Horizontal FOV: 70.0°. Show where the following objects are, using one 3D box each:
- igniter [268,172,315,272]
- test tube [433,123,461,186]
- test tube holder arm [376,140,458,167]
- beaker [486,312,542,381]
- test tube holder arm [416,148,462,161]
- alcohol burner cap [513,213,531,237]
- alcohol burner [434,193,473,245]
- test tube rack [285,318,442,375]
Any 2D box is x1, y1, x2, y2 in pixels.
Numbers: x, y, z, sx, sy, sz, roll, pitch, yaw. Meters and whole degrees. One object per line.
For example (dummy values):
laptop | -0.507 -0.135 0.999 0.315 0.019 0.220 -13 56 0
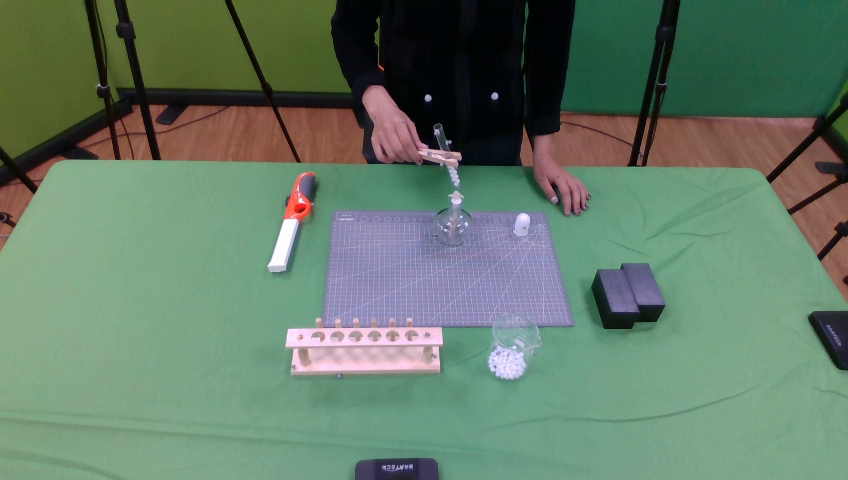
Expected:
igniter | -0.263 -0.045 1.219 0.057 0.025 0.275 -2 45 8
test tube | 0.042 -0.147 1.066 0.017 0.151 0.017 -10 51 12
test tube holder arm | -0.016 -0.159 1.100 0.177 0.015 0.013 17 57 29
beaker | 0.144 0.177 0.985 0.084 0.101 0.074 22 49 16
test tube holder arm | 0.025 -0.153 1.081 0.087 0.015 0.010 10 54 25
alcohol burner cap | 0.200 -0.034 1.227 0.034 0.048 0.033 1 46 -1
alcohol burner | 0.059 -0.047 1.180 0.078 0.120 0.077 1 48 -1
test tube rack | -0.095 0.167 0.986 0.242 0.085 0.066 0 46 -4
